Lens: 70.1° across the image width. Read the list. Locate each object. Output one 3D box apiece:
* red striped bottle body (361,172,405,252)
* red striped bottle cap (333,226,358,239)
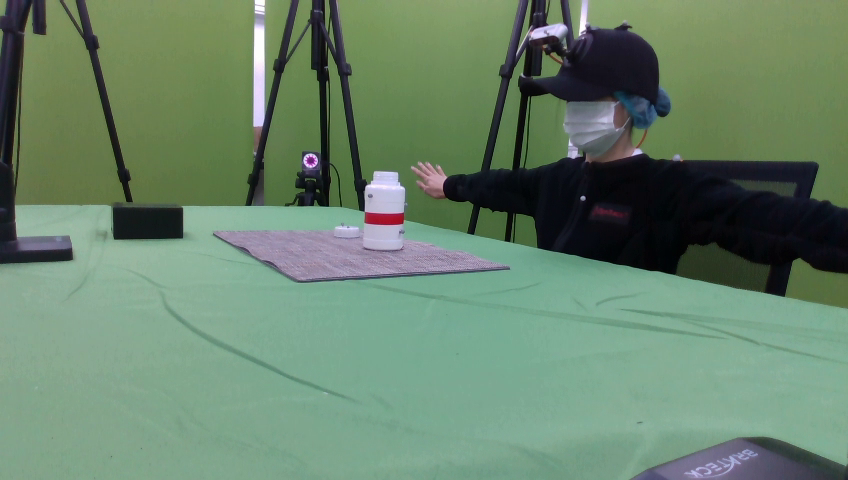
[{"bbox_3d":[-0.062,-0.045,0.933,0.063,0.119,0.063,4,8,0],"label":"red striped bottle body"},{"bbox_3d":[-0.139,-0.013,1.069,0.044,0.017,0.044,0,9,0],"label":"red striped bottle cap"}]
